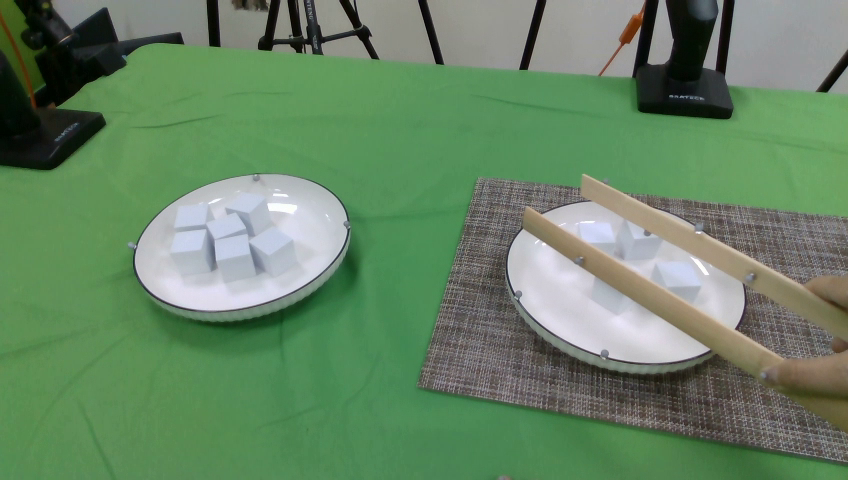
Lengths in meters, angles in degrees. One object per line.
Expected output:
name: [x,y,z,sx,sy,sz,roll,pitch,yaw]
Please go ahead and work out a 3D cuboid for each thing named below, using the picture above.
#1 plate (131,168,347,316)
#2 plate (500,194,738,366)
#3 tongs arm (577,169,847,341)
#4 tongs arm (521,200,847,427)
plate: [-0.180,0.002,0.612,0.209,0.038,0.207,-1,42,1]
plate: [0.173,0.034,0.558,0.208,0.039,0.205,-1,43,1]
tongs arm: [0.245,0.043,0.430,0.051,0.027,0.380,-29,46,-28]
tongs arm: [0.212,0.062,0.411,0.028,0.028,0.383,-28,45,-31]
